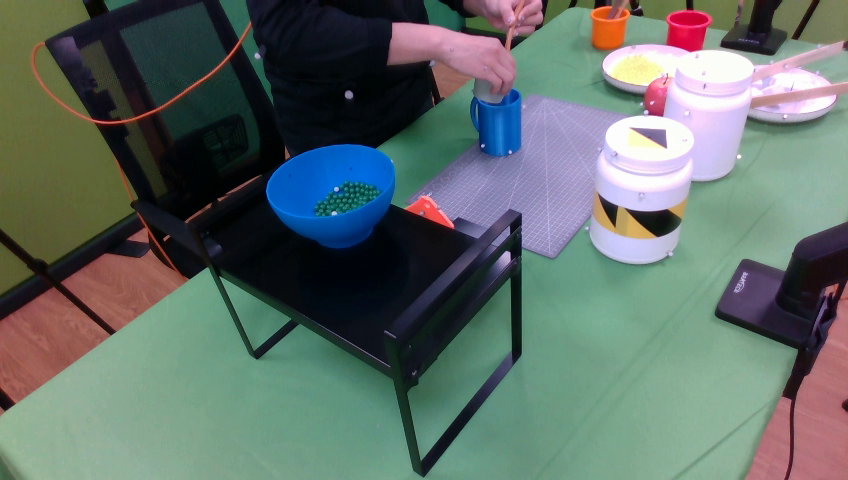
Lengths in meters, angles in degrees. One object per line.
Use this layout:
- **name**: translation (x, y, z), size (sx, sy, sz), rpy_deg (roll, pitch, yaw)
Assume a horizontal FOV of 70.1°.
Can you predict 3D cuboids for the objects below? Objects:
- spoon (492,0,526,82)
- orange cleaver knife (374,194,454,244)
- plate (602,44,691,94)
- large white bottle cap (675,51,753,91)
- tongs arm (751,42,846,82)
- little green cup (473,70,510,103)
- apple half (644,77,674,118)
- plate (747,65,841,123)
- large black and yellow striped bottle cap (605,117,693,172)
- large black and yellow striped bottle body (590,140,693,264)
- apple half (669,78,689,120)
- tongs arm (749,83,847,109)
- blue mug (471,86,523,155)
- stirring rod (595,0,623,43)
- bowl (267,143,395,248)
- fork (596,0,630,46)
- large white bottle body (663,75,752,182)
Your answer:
- **spoon**: translation (0.151, -0.353, 1.039), size (0.022, 0.193, 0.041), rpy_deg (11, 10, -22)
- **orange cleaver knife**: translation (-0.032, -0.026, 0.965), size (0.210, 0.077, 0.012), rpy_deg (-9, 29, 51)
- **plate**: translation (0.495, -0.367, 1.317), size (0.209, 0.038, 0.208), rpy_deg (-4, 40, 4)
- **large white bottle cap**: translation (0.463, -0.271, 0.967), size (0.115, 0.018, 0.114), rpy_deg (-4, 40, 3)
- **tongs arm**: translation (0.708, -0.331, 1.194), size (0.386, 0.026, 0.050), rpy_deg (-18, 45, -16)
- **little green cup**: translation (0.116, -0.267, 1.055), size (0.062, 0.038, 0.061), rpy_deg (14, 28, -7)
- **apple half**: translation (0.463, -0.279, 1.194), size (0.053, 0.075, 0.081), rpy_deg (8, 46, 24)
- **plate**: translation (0.695, -0.282, 1.189), size (0.207, 0.039, 0.206), rpy_deg (-4, 40, 4)
- **large black and yellow striped bottle cap**: translation (0.309, -0.134, 0.833), size (0.115, 0.019, 0.114), rpy_deg (-5, 40, 5)
- **large black and yellow striped bottle body**: translation (0.317, -0.071, 0.889), size (0.131, 0.185, 0.130), rpy_deg (-4, 41, 4)
- **apple half**: translation (0.498, -0.273, 1.180), size (0.032, 0.082, 0.081), rpy_deg (7, 42, 25)
- **tongs arm**: translation (0.734, -0.280, 1.133), size (0.388, 0.028, 0.028), rpy_deg (-9, 47, -5)
- **blue mug**: translation (0.135, -0.235, 1.163), size (0.082, 0.106, 0.115), rpy_deg (-36, 48, -28)
- **stirring rod**: translation (0.460, -0.556, 1.460), size (0.014, 0.006, 0.176), rpy_deg (30, 93, 23)
- **bowl**: translation (-0.104, -0.043, 0.726), size (0.151, 0.077, 0.150), rpy_deg (-4, 41, 4)
- **fork**: translation (0.481, -0.556, 1.452), size (0.028, 0.019, 0.207), rpy_deg (40, 103, 40)
- **large white bottle body**: translation (0.472, -0.207, 1.022), size (0.130, 0.185, 0.130), rpy_deg (-4, 41, 4)
